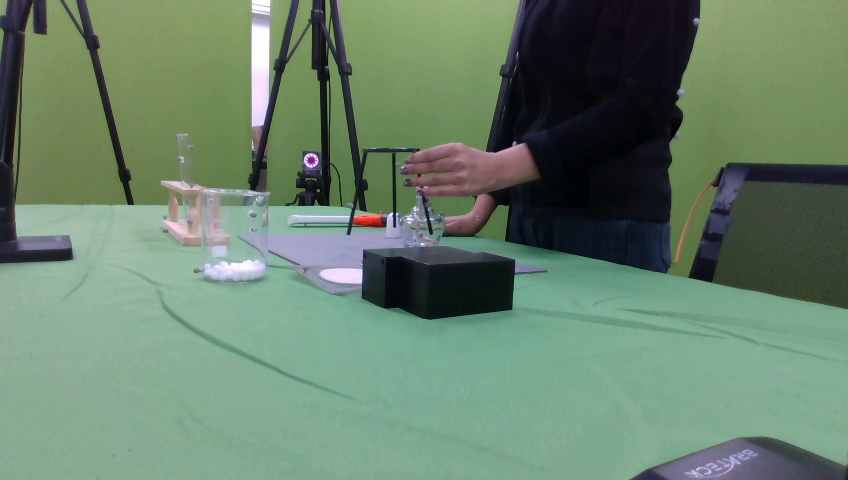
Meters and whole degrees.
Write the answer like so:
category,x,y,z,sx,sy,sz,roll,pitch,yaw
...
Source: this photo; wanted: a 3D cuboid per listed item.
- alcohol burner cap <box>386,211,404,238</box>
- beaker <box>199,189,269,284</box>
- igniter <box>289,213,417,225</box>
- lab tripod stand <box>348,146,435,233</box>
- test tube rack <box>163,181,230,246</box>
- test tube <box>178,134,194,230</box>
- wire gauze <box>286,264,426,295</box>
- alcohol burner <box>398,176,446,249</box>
category,x,y,z,sx,sy,sz,roll,pitch,yaw
alcohol burner cap,-0.053,-0.029,1.107,0.034,0.048,0.034,2,9,0
beaker,-0.209,-0.006,0.676,0.073,0.100,0.084,7,8,28
igniter,-0.144,-0.044,1.275,0.278,0.025,0.057,-1,-2,-27
lab tripod stand,-0.050,-0.079,0.927,0.148,0.131,0.148,0,9,0
test tube rack,-0.387,-0.050,1.015,0.067,0.085,0.241,-2,9,-30
test tube,-0.367,-0.089,0.938,0.017,0.150,0.017,-1,9,1
wire gauze,-0.079,0.039,0.692,0.122,0.011,0.124,-4,11,-37
alcohol burner,-0.003,-0.046,0.973,0.078,0.119,0.078,0,7,0
